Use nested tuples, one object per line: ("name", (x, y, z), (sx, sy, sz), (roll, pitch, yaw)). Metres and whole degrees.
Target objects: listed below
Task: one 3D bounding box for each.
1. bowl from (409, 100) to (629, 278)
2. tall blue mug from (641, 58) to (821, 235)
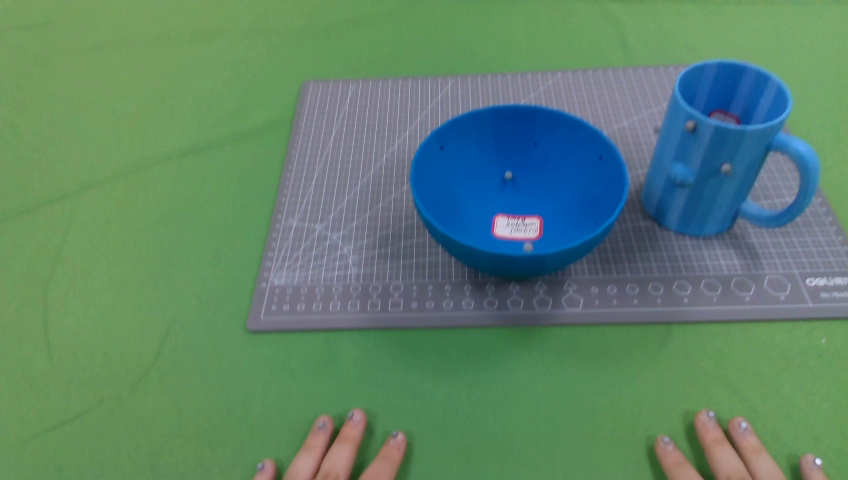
("bowl", (0.066, -0.025, 0.446), (0.151, 0.077, 0.150), (-2, 51, 3))
("tall blue mug", (0.225, -0.063, 0.445), (0.107, 0.109, 0.077), (14, 53, 15))
